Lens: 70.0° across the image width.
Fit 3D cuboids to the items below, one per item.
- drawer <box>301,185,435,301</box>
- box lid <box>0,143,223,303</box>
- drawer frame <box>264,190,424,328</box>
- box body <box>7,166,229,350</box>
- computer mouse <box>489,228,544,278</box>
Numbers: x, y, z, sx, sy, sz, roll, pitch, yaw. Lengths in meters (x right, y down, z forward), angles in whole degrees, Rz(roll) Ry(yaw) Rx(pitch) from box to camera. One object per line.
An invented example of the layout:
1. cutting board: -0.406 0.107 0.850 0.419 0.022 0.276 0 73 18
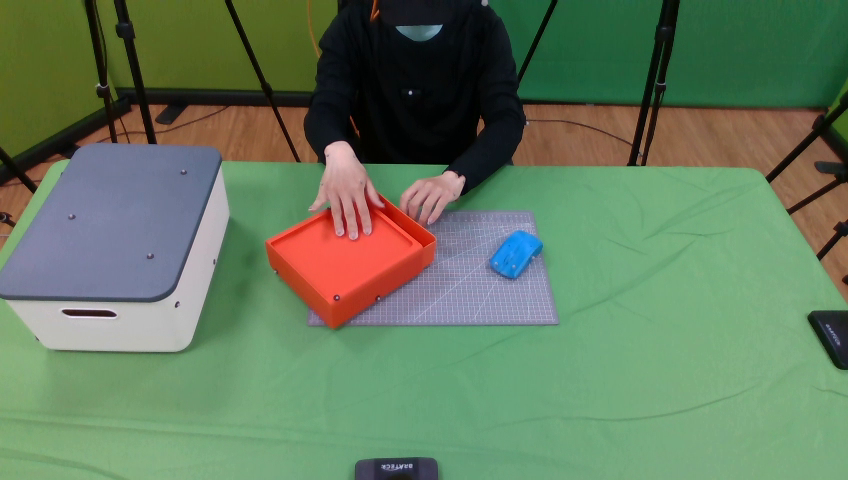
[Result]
1. drawer: -0.120 0.012 1.133 0.212 0.073 0.193 -33 57 -30
2. box lid: -0.499 -0.045 1.002 0.263 0.015 0.369 2 46 -3
3. drawer frame: -0.144 0.028 1.114 0.213 0.083 0.200 -33 57 -30
4. box body: -0.502 0.008 1.054 0.254 0.161 0.361 1 46 -3
5. computer mouse: 0.180 0.022 1.175 0.062 0.041 0.117 33 57 23
